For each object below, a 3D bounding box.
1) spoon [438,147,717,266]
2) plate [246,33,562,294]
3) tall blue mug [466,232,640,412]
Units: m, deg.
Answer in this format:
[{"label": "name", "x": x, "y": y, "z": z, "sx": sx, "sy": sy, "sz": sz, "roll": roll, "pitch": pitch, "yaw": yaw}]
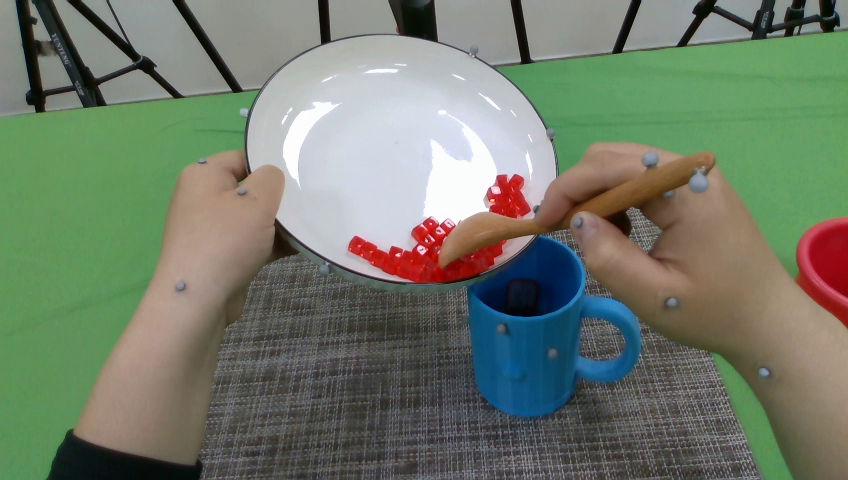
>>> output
[{"label": "spoon", "x": 0.059, "y": -0.012, "z": 0.294, "sx": 0.041, "sy": 0.022, "sz": 0.193, "roll": -48, "pitch": 16, "yaw": -27}, {"label": "plate", "x": -0.012, "y": -0.054, "z": 0.411, "sx": 0.208, "sy": 0.039, "sz": 0.206, "roll": 5, "pitch": 59, "yaw": -9}, {"label": "tall blue mug", "x": 0.085, "y": 0.056, "z": 0.420, "sx": 0.107, "sy": 0.109, "sz": 0.077, "roll": -10, "pitch": 43, "yaw": -1}]
